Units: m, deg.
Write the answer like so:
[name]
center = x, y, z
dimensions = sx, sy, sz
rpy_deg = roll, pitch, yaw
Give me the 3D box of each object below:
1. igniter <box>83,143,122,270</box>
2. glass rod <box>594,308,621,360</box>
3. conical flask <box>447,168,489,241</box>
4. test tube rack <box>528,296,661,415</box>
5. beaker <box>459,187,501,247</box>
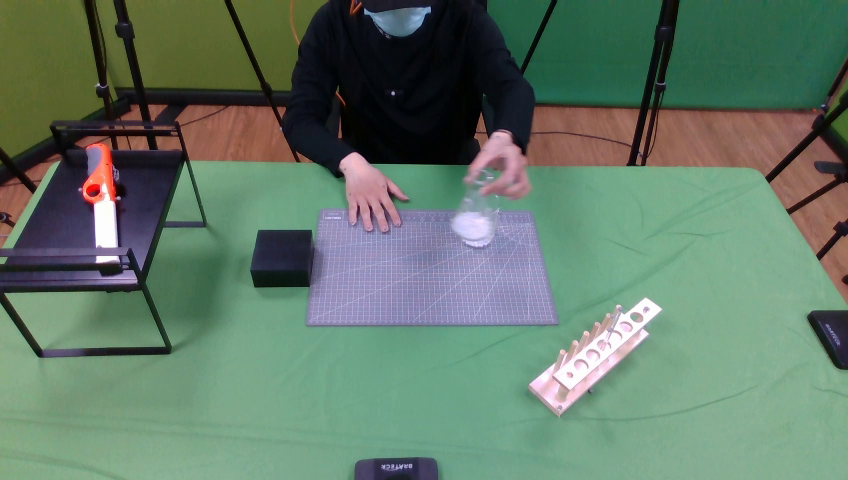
[igniter]
center = -0.508, -0.063, 0.962
dimensions = 0.057, 0.025, 0.274
rpy_deg = -14, 53, -18
[glass rod]
center = 0.278, 0.156, 0.934
dimensions = 0.008, 0.201, 0.008
rpy_deg = -1, 54, 1
[conical flask]
center = 0.079, -0.064, 1.025
dimensions = 0.075, 0.122, 0.075
rpy_deg = 2, 45, -2
[test tube rack]
center = 0.285, 0.178, 1.005
dimensions = 0.242, 0.085, 0.066
rpy_deg = -31, 55, -29
[beaker]
center = 0.106, -0.039, 1.186
dimensions = 0.074, 0.101, 0.084
rpy_deg = 22, 50, 17
